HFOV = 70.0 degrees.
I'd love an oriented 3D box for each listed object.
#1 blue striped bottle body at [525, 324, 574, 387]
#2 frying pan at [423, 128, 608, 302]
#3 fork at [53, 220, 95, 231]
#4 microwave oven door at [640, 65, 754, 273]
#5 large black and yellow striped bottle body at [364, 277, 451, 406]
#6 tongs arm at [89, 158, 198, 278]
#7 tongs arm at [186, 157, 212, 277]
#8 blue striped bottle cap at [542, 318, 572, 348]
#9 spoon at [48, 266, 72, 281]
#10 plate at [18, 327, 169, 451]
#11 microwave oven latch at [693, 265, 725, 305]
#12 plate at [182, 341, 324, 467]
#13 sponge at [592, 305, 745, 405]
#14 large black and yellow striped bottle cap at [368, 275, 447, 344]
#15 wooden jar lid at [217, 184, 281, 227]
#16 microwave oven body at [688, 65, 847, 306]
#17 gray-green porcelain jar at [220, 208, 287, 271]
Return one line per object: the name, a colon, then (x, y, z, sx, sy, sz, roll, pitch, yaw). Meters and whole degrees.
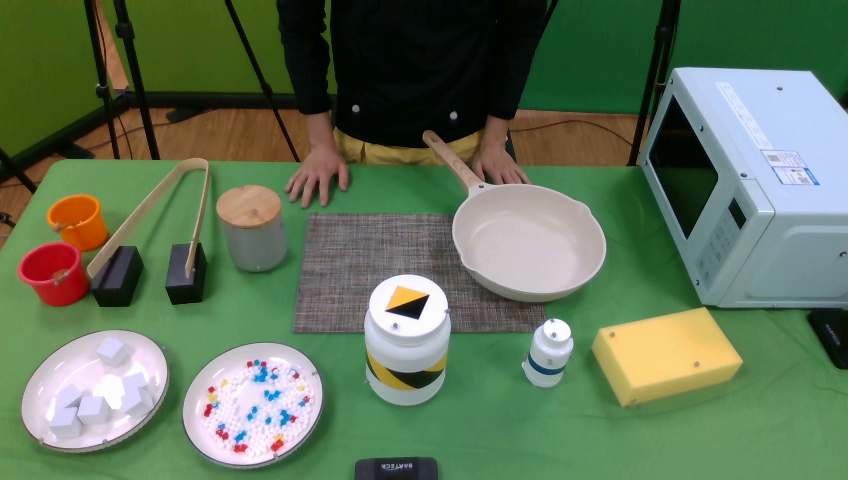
blue striped bottle body: (0.202, 0.179, 0.970, 0.063, 0.121, 0.062, 2, 46, -2)
frying pan: (0.142, -0.069, 1.208, 0.307, 0.103, 0.485, -23, 60, -25)
fork: (-0.627, -0.027, 1.086, 0.028, 0.018, 0.207, 0, 2, -15)
microwave oven door: (0.523, -0.147, 1.193, 0.039, 0.245, 0.353, 0, 47, -3)
large black and yellow striped bottle body: (-0.026, 0.155, 0.933, 0.131, 0.185, 0.130, 2, 47, -2)
tongs arm: (-0.529, -0.057, 1.164, 0.028, 0.028, 0.385, 1, 36, 8)
tongs arm: (-0.445, -0.058, 1.168, 0.051, 0.026, 0.382, -5, 37, -6)
blue striped bottle cap: (0.205, 0.143, 0.933, 0.044, 0.021, 0.044, 0, 47, 0)
spoon: (-0.609, 0.057, 1.010, 0.041, 0.022, 0.193, -32, 13, -27)
plate: (-0.498, 0.229, 0.929, 0.208, 0.039, 0.206, 3, 47, -2)
microwave oven latch: (0.523, 0.081, 1.115, 0.030, 0.029, 0.078, 2, 46, -1)
plate: (-0.257, 0.250, 0.927, 0.209, 0.038, 0.208, 3, 46, -2)
sponge: (0.405, 0.190, 1.014, 0.207, 0.061, 0.117, -10, 48, -13)
large black and yellow striped bottle cap: (-0.024, 0.098, 0.871, 0.115, 0.019, 0.114, 2, 45, -2)
wooden jar lid: (-0.307, -0.057, 1.068, 0.108, 0.021, 0.107, 5, 44, -4)
microwave oven body: (0.669, -0.111, 1.176, 0.326, 0.261, 0.439, 0, 46, -3)
gray-green porcelain jar: (-0.309, -0.014, 1.113, 0.106, 0.127, 0.105, 2, 46, -2)
